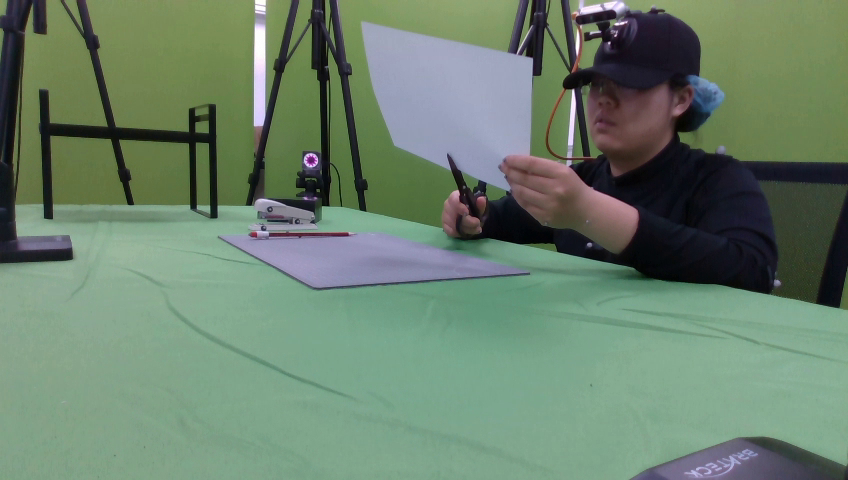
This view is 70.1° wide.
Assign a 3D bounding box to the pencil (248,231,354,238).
[{"bbox_3d":[-0.206,-0.009,1.039,0.195,0.012,0.012,0,8,-36],"label":"pencil"}]

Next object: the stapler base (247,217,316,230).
[{"bbox_3d":[-0.276,-0.033,1.172,0.131,0.024,0.041,0,10,-37],"label":"stapler base"}]

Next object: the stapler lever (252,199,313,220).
[{"bbox_3d":[-0.273,-0.058,1.170,0.119,0.040,0.026,0,10,-37],"label":"stapler lever"}]

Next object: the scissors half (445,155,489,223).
[{"bbox_3d":[0.067,-0.081,0.949,0.012,0.040,0.176,30,-11,37],"label":"scissors half"}]

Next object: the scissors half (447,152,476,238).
[{"bbox_3d":[0.054,-0.066,0.943,0.013,0.175,0.040,24,55,36],"label":"scissors half"}]
